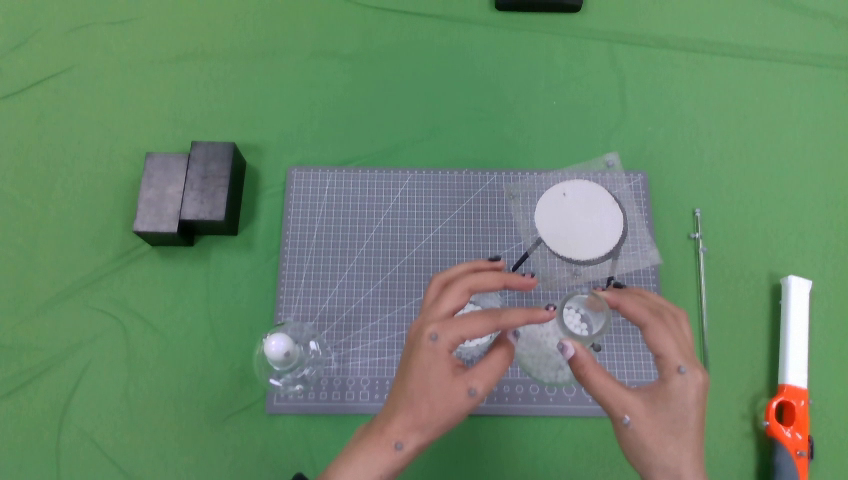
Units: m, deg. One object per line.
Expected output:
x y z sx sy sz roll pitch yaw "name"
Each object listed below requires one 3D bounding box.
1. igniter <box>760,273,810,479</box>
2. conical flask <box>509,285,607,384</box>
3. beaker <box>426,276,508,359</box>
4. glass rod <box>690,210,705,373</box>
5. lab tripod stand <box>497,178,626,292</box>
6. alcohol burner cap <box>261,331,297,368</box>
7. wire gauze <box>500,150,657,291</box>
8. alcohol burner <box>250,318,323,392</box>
0.400 0.170 0.669 0.057 0.025 0.275 16 72 -7 "igniter"
0.111 0.070 0.479 0.075 0.122 0.075 0 71 0 "conical flask"
0.043 0.087 0.649 0.084 0.101 0.073 -4 72 -3 "beaker"
0.322 0.057 0.714 0.008 0.008 0.198 5 71 1 "glass rod"
0.152 0.002 0.661 0.148 0.132 0.147 0 73 0 "lab tripod stand"
-0.144 0.105 0.594 0.034 0.048 0.033 2 69 -6 "alcohol burner cap"
0.152 -0.020 0.598 0.125 0.011 0.120 -15 74 -5 "wire gauze"
-0.145 0.117 0.628 0.078 0.119 0.077 1 73 -2 "alcohol burner"
